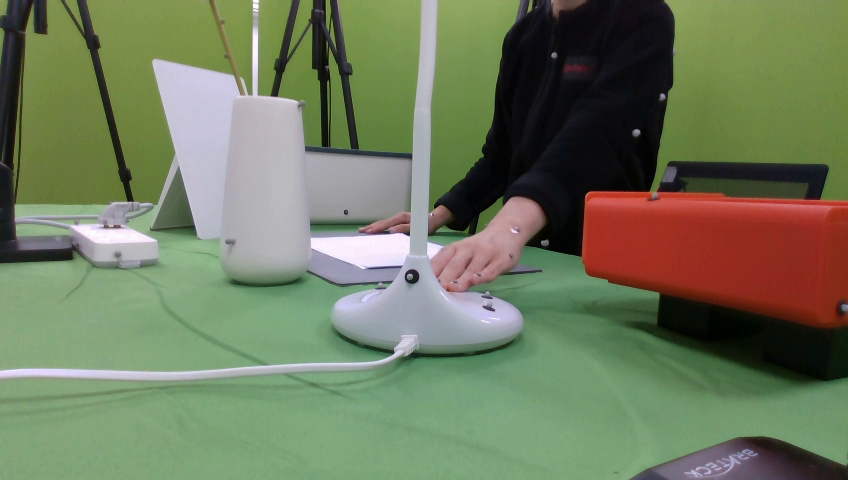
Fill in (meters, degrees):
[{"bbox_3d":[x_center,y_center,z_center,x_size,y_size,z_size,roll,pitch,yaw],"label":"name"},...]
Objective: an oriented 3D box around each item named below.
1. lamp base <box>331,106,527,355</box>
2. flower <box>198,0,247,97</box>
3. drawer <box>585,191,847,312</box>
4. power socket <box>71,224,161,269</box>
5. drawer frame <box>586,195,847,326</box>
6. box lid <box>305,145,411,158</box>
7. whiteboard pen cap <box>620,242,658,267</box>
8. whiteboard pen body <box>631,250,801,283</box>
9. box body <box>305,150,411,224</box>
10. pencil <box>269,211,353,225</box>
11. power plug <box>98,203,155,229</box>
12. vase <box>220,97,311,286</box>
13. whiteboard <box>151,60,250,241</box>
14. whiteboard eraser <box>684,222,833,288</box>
[{"bbox_3d":[0.006,-0.012,0.478,0.161,0.180,0.179,2,10,2],"label":"lamp base"},{"bbox_3d":[-0.187,-0.133,0.648,0.038,0.362,0.044,0,22,43],"label":"flower"},{"bbox_3d":[0.280,0.001,0.513,0.195,0.073,0.211,-1,8,-28],"label":"drawer"},{"bbox_3d":[-0.408,0.004,0.793,0.072,0.032,0.225,-2,8,-38],"label":"power socket"},{"bbox_3d":[0.284,0.004,0.508,0.203,0.082,0.212,-1,6,-28],"label":"drawer frame"},{"bbox_3d":[-0.232,-0.200,1.363,0.373,0.015,0.262,0,7,-29],"label":"box lid"},{"bbox_3d":[0.199,0.014,0.556,0.018,0.018,0.033,-4,15,-38],"label":"whiteboard pen cap"},{"bbox_3d":[0.240,0.020,0.512,0.017,0.017,0.140,-4,7,-41],"label":"whiteboard pen body"},{"bbox_3d":[-0.233,-0.127,1.374,0.366,0.160,0.253,-2,8,-29],"label":"box body"},{"bbox_3d":[-0.246,-0.047,1.338,0.195,0.012,0.012,7,5,-27],"label":"pencil"},{"bbox_3d":[-0.416,-0.026,0.848,0.073,0.052,0.035,1,7,-28],"label":"power plug"},{"bbox_3d":[-0.172,-0.052,0.662,0.098,0.200,0.098,3,8,0],"label":"vase"},{"bbox_3d":[-0.408,-0.139,1.094,0.143,0.305,0.218,-15,0,25],"label":"whiteboard"},{"bbox_3d":[0.305,0.013,0.558,0.056,0.042,0.112,-9,19,-31],"label":"whiteboard eraser"}]
